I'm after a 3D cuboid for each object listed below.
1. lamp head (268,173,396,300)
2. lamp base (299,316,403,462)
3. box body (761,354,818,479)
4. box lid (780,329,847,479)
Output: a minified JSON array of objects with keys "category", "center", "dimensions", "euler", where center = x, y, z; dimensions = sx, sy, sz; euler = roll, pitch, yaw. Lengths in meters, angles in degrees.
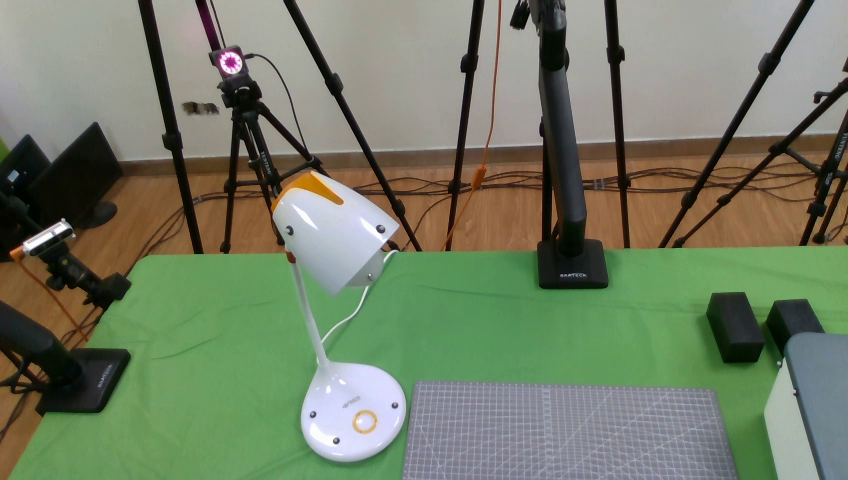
[{"category":"lamp head","center":[-0.110,-0.011,0.663],"dimensions":[0.123,0.113,0.112],"euler":[40,54,-1]},{"category":"lamp base","center":[-0.128,0.201,0.875],"dimensions":[0.160,0.182,0.177],"euler":[-37,47,-28]},{"category":"box body","center":[0.556,0.299,0.677],"dimensions":[0.253,0.162,0.361],"euler":[2,44,11]},{"category":"box lid","center":[0.549,0.244,0.628],"dimensions":[0.263,0.015,0.368],"euler":[2,44,11]}]
